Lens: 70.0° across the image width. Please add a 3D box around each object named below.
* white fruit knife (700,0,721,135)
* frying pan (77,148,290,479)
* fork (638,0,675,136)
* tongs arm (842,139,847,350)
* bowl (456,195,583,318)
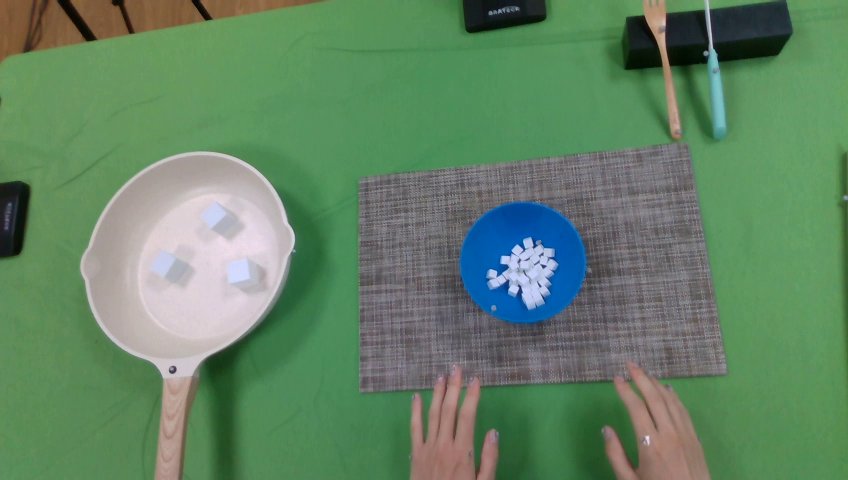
[{"bbox_3d":[0.367,-0.242,0.785,0.016,0.027,0.207,-6,90,14],"label":"white fruit knife"},{"bbox_3d":[-0.317,0.112,0.794,0.306,0.103,0.484,-6,65,9],"label":"frying pan"},{"bbox_3d":[0.309,-0.240,0.796,0.028,0.018,0.207,-11,93,2],"label":"fork"},{"bbox_3d":[0.510,0.060,0.707,0.028,0.028,0.385,4,76,9],"label":"tongs arm"},{"bbox_3d":[0.118,0.028,0.753,0.151,0.077,0.150,-3,74,9],"label":"bowl"}]
